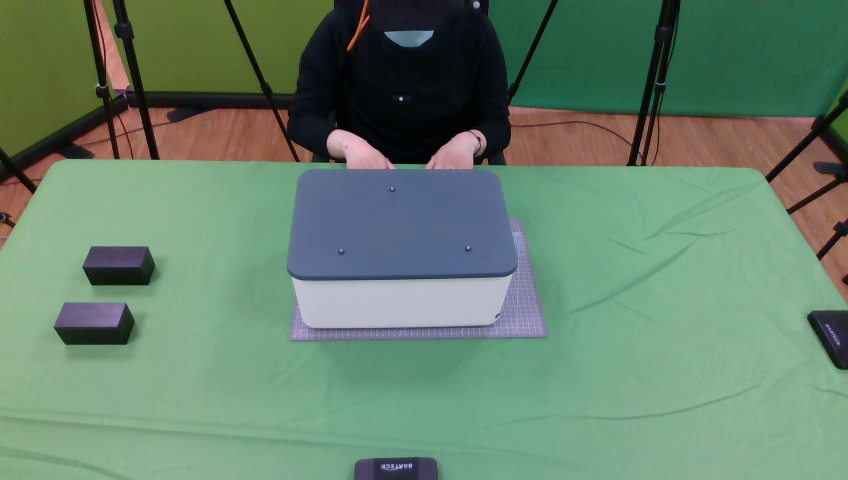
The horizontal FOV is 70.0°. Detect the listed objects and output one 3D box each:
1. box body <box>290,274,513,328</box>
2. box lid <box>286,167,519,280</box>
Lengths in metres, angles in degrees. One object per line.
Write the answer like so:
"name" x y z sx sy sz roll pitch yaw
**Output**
"box body" -0.040 0.015 1.075 0.364 0.161 0.252 -1 47 -4
"box lid" -0.035 -0.036 1.021 0.372 0.015 0.261 -1 46 -4
